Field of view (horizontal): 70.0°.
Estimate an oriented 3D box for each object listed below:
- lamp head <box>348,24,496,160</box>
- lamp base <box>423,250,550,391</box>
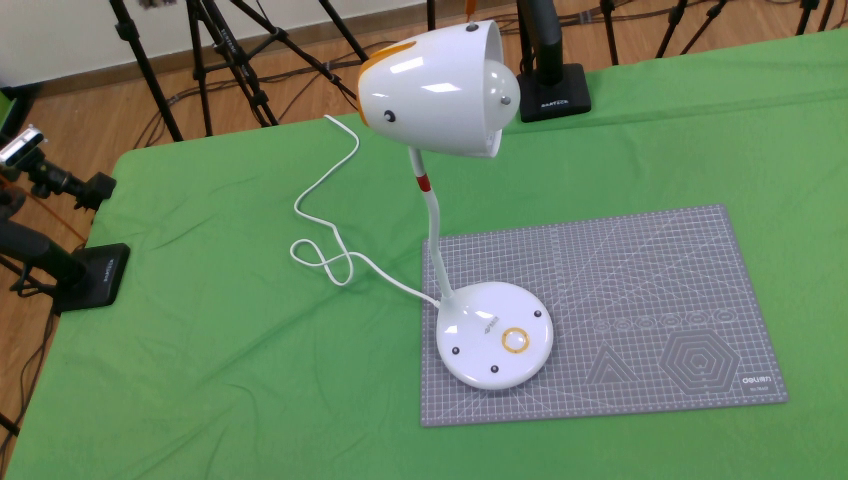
[{"bbox_3d":[-0.001,-0.120,0.524,0.122,0.113,0.111,-3,56,19],"label":"lamp head"},{"bbox_3d":[0.063,0.085,0.773,0.178,0.182,0.160,16,61,27],"label":"lamp base"}]
